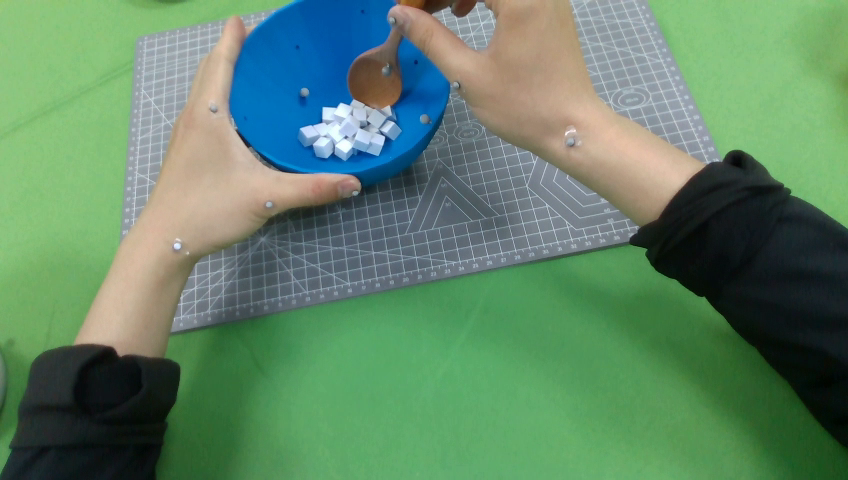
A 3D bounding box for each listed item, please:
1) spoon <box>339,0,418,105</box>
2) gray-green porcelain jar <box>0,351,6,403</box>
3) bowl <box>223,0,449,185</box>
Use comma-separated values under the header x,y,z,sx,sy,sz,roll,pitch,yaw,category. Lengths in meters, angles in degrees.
x,y,z,sx,sy,sz,roll,pitch,yaw,category
-0.018,-0.131,0.370,0.042,0.193,0.021,30,72,-11,spoon
-0.338,0.084,0.366,0.106,0.127,0.105,-3,63,6,gray-green porcelain jar
-0.057,-0.097,0.436,0.151,0.077,0.150,-1,68,2,bowl
